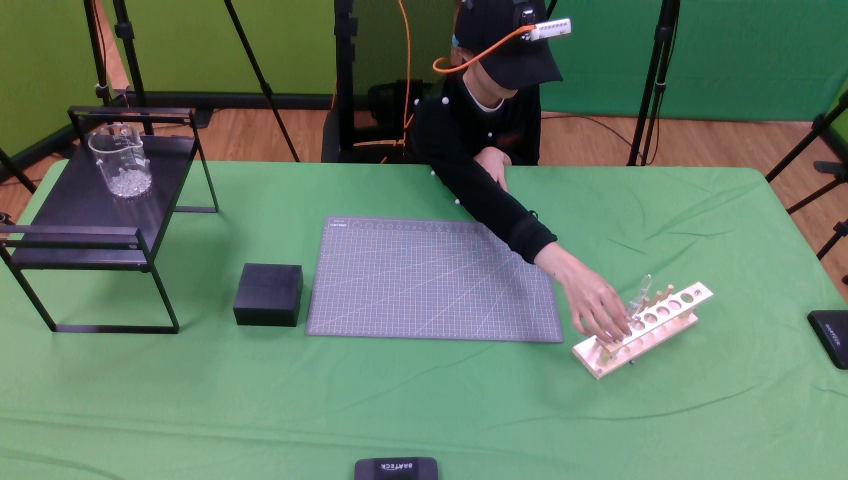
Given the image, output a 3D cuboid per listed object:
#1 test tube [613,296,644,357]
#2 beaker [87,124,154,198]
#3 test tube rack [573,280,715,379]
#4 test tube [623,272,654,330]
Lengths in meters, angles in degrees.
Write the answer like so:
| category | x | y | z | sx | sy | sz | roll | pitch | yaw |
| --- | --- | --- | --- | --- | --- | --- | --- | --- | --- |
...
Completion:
| category | x | y | z | sx | sy | sz | roll | pitch | yaw |
| --- | --- | --- | --- | --- | --- | --- | --- | --- | --- |
| test tube | 0.323 | 0.140 | 0.964 | 0.017 | 0.151 | 0.017 | 1 | 46 | -1 |
| beaker | -0.482 | -0.124 | 0.978 | 0.084 | 0.101 | 0.073 | 9 | 46 | 4 |
| test tube rack | 0.378 | 0.140 | 1.038 | 0.242 | 0.085 | 0.066 | -22 | 51 | -23 |
| test tube | 0.356 | 0.104 | 1.010 | 0.017 | 0.151 | 0.017 | 1 | 46 | -1 |
